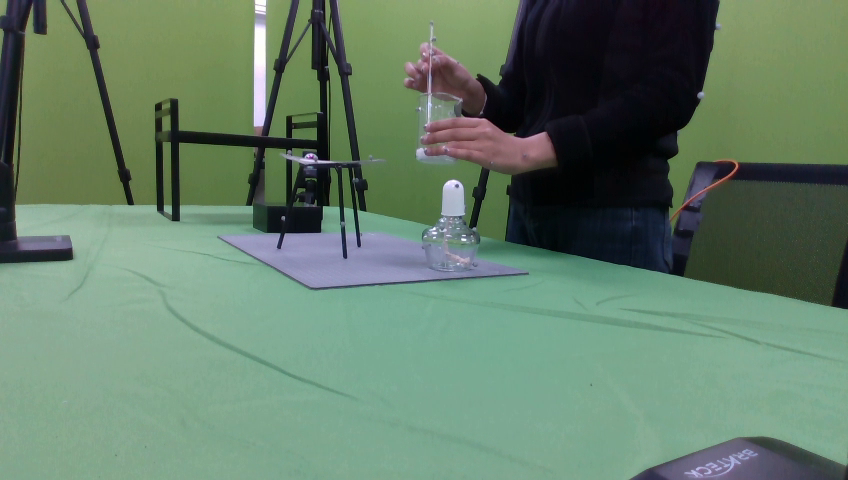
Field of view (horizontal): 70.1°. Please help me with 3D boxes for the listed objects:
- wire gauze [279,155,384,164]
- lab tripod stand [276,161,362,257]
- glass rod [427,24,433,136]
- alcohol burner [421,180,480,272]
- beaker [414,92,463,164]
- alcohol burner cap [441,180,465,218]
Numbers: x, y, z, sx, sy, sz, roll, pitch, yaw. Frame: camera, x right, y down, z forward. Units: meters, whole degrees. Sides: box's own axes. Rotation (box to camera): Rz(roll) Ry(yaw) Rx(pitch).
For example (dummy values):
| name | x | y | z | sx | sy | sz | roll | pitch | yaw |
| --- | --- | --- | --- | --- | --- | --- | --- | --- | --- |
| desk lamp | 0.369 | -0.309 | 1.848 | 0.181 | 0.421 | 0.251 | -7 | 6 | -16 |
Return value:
| name | x | y | z | sx | sy | sz | roll | pitch | yaw |
| --- | --- | --- | --- | --- | --- | --- | --- | --- | --- |
| wire gauze | -0.134 | -0.114 | 0.875 | 0.122 | 0.011 | 0.124 | -1 | 9 | -30 |
| lab tripod stand | -0.143 | -0.049 | 0.884 | 0.148 | 0.131 | 0.148 | 2 | 9 | 0 |
| glass rod | 0.010 | -0.260 | 0.975 | 0.008 | 0.199 | 0.008 | 1 | -14 | 1 |
| alcohol burner | 0.036 | -0.018 | 0.785 | 0.078 | 0.119 | 0.078 | 4 | 6 | 0 |
| beaker | 0.024 | -0.173 | 0.947 | 0.083 | 0.100 | 0.074 | 2 | 0 | 41 |
| alcohol burner cap | 0.038 | -0.054 | 0.781 | 0.034 | 0.048 | 0.034 | 0 | 13 | 0 |
